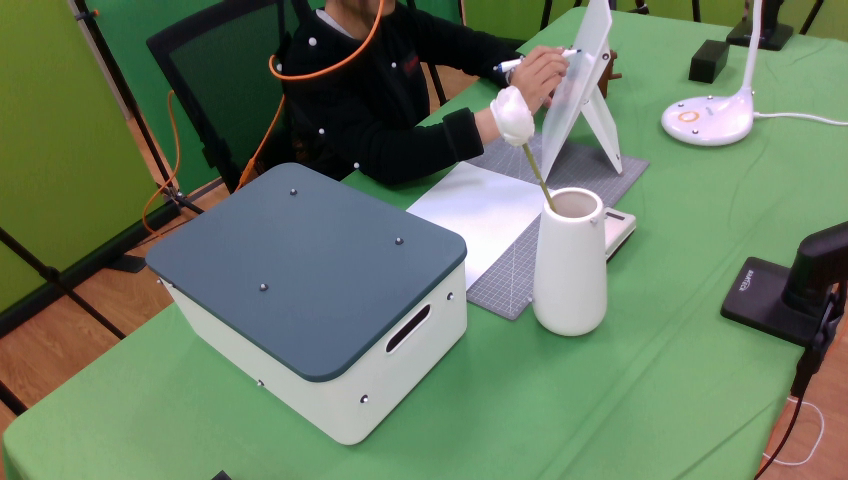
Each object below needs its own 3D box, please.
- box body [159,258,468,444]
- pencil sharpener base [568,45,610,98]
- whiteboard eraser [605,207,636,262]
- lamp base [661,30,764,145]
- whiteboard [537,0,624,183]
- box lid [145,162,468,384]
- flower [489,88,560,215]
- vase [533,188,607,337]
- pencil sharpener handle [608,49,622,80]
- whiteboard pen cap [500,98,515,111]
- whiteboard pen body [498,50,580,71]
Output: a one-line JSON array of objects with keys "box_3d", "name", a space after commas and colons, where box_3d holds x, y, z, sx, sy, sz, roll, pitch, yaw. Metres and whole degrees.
[{"box_3d": [-0.147, 0.072, 0.816, 0.361, 0.161, 0.255, 24, 50, 33], "name": "box body"}, {"box_3d": [0.345, -0.352, 1.263, 0.077, 0.107, 0.061, -9, 40, 1], "name": "pencil sharpener base"}, {"box_3d": [0.273, -0.003, 0.919, 0.055, 0.042, 0.113, 27, 51, 33], "name": "whiteboard eraser"}, {"box_3d": [0.535, -0.287, 1.096, 0.179, 0.181, 0.159, -10, 40, -4], "name": "lamp base"}, {"box_3d": [0.316, -0.256, 1.047, 0.144, 0.306, 0.216, 15, 42, -1], "name": "whiteboard"}, {"box_3d": [-0.157, 0.014, 0.769, 0.368, 0.015, 0.264, 25, 51, 33], "name": "box lid"}, {"box_3d": [0.158, -0.028, 0.720, 0.038, 0.364, 0.044, -14, 44, 23], "name": "flower"}, {"box_3d": [0.187, 0.033, 0.771, 0.098, 0.201, 0.097, -6, 41, 6], "name": "vase"}, {"box_3d": [0.394, -0.368, 1.253, 0.030, 0.068, 0.036, -9, 32, 1], "name": "pencil sharpener handle"}, {"box_3d": [0.177, -0.287, 1.289, 0.033, 0.018, 0.018, -39, 49, -26], "name": "whiteboard pen cap"}, {"box_3d": [0.195, -0.307, 1.026, 0.140, 0.017, 0.017, -10, 40, 6], "name": "whiteboard pen body"}]
